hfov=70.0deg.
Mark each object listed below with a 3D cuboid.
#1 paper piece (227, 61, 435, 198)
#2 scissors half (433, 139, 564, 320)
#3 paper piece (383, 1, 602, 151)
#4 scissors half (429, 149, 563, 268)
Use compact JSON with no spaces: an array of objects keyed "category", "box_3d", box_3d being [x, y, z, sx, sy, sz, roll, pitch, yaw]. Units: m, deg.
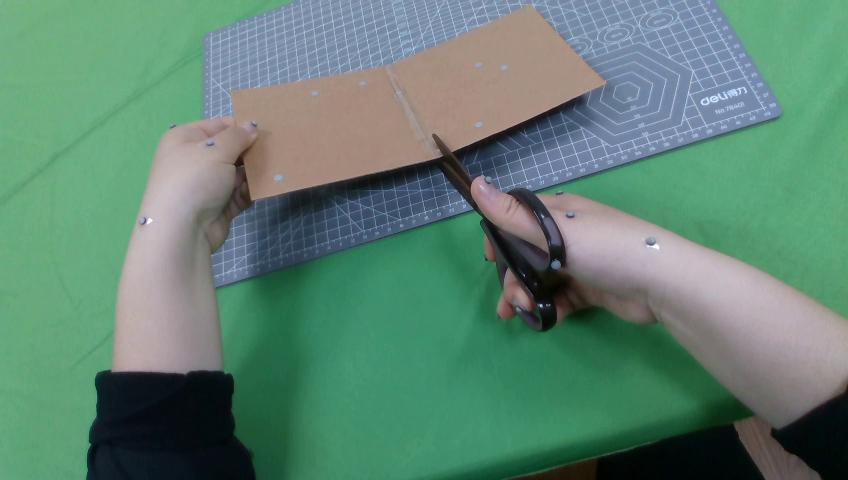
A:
[{"category":"paper piece","box_3d":[-0.077,-0.092,0.466,0.138,0.009,0.134,-16,45,-9]},{"category":"scissors half","box_3d":[0.041,-0.016,0.402,0.013,0.040,0.173,-23,56,-11]},{"category":"paper piece","box_3d":[0.048,-0.137,0.480,0.135,0.004,0.134,-23,50,-2]},{"category":"scissors half","box_3d":[0.037,-0.032,0.387,0.013,0.040,0.173,-20,29,-14]}]
